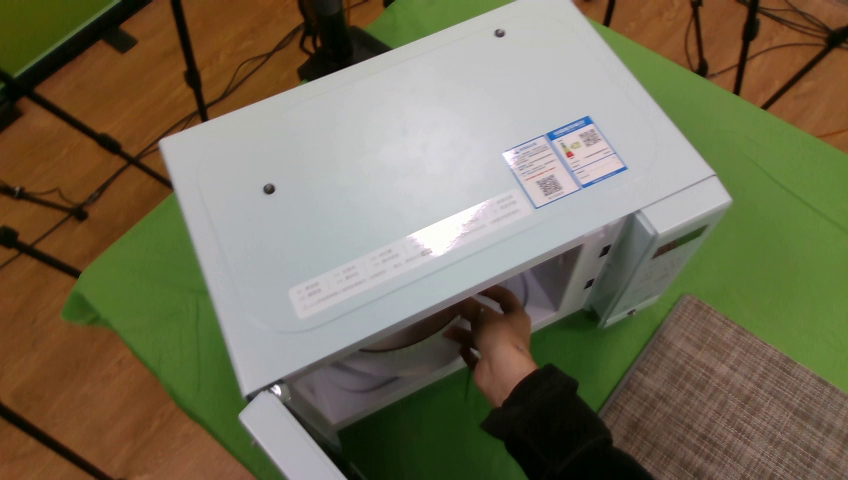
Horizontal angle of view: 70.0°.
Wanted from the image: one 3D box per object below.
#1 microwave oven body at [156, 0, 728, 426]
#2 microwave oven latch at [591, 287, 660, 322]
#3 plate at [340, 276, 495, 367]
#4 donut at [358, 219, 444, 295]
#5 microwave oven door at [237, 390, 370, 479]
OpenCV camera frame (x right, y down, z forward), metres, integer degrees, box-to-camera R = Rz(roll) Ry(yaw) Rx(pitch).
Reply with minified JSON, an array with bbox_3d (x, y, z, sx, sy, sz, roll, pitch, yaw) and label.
[{"bbox_3d":[0.007,-0.022,0.660,0.442,0.262,0.323,-25,65,-8],"label":"microwave oven body"},{"bbox_3d":[0.237,0.066,0.712,0.079,0.030,0.030,-25,65,-8],"label":"microwave oven latch"},{"bbox_3d":[-0.024,0.047,0.680,0.209,0.038,0.207,-4,58,7],"label":"plate"},{"bbox_3d":[-0.025,0.019,0.691,0.099,0.048,0.098,1,53,-1],"label":"donut"},{"bbox_3d":[-0.002,0.280,0.502,0.353,0.246,0.039,41,72,21],"label":"microwave oven door"}]
